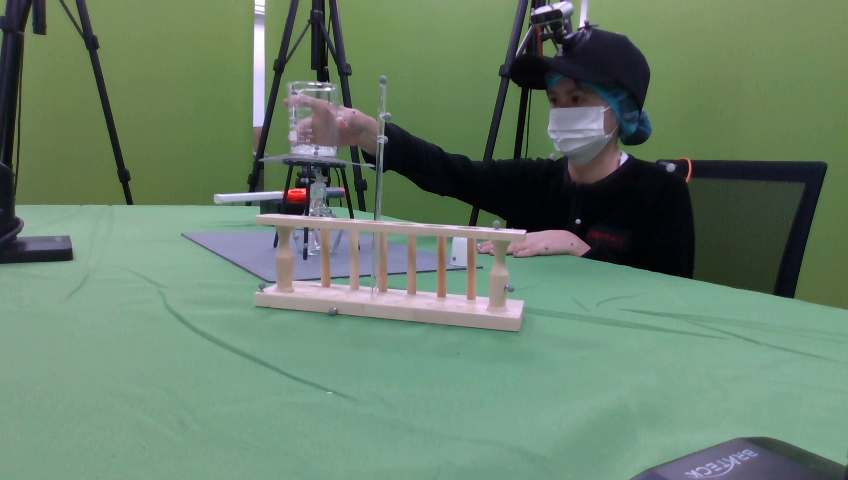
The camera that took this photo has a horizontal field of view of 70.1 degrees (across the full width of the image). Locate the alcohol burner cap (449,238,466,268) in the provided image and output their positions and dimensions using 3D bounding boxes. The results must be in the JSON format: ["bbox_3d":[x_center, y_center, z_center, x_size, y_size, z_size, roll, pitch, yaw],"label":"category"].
[{"bbox_3d":[0.051,0.014,0.827,0.034,0.048,0.034,3,5,0],"label":"alcohol burner cap"}]

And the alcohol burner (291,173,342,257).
[{"bbox_3d":[-0.155,-0.037,0.870,0.078,0.119,0.078,1,6,0],"label":"alcohol burner"}]

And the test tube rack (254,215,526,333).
[{"bbox_3d":[-0.030,0.025,0.558,0.242,0.085,0.067,4,7,12],"label":"test tube rack"}]

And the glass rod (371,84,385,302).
[{"bbox_3d":[-0.041,-0.040,0.548,0.008,0.199,0.008,2,2,0],"label":"glass rod"}]

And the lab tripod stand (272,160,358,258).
[{"bbox_3d":[-0.159,-0.048,0.876,0.148,0.131,0.148,3,5,0],"label":"lab tripod stand"}]

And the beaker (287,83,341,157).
[{"bbox_3d":[-0.161,-0.170,0.868,0.083,0.100,0.074,6,9,35],"label":"beaker"}]

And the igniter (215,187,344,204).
[{"bbox_3d":[-0.290,-0.093,1.256,0.278,0.025,0.057,-6,11,-35],"label":"igniter"}]

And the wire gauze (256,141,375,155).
[{"bbox_3d":[-0.155,-0.131,0.871,0.124,0.011,0.122,-1,7,36],"label":"wire gauze"}]
